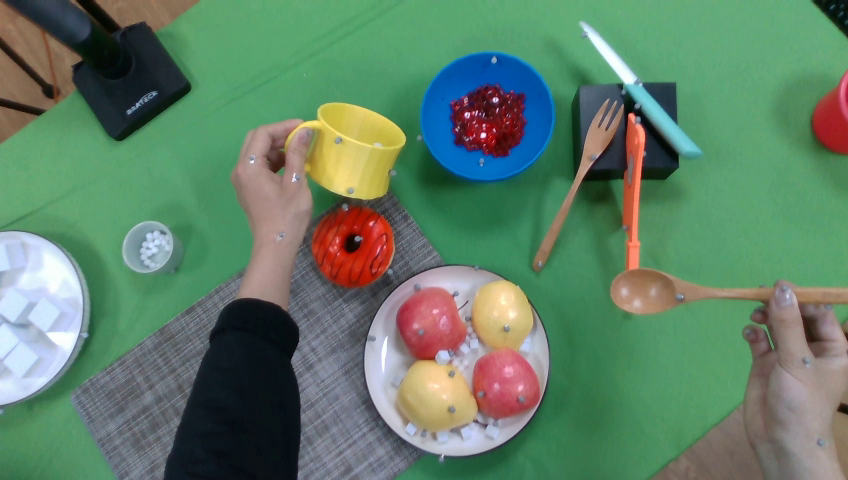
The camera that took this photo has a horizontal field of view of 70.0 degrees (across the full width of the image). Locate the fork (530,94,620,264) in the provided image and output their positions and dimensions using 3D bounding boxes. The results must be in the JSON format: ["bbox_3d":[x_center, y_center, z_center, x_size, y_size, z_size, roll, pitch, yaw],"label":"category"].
[{"bbox_3d":[0.166,-0.064,0.683,0.028,0.018,0.208,22,103,-1],"label":"fork"}]

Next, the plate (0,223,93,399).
[{"bbox_3d":[-0.494,0.084,0.727,0.207,0.039,0.207,-1,81,4],"label":"plate"}]

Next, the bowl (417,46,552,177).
[{"bbox_3d":[0.069,-0.138,0.707,0.151,0.077,0.151,0,81,3],"label":"bowl"}]

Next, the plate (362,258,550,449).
[{"bbox_3d":[0.035,0.125,0.682,0.209,0.038,0.208,-1,80,3],"label":"plate"}]

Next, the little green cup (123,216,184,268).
[{"bbox_3d":[-0.322,0.005,0.728,0.061,0.039,0.061,-1,80,5],"label":"little green cup"}]

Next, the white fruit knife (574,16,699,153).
[{"bbox_3d":[0.235,-0.177,0.684,0.027,0.016,0.206,-29,76,-31],"label":"white fruit knife"}]

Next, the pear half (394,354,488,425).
[{"bbox_3d":[0.023,0.170,0.661,0.110,0.056,0.076,26,88,3],"label":"pear half"}]

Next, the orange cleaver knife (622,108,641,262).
[{"bbox_3d":[0.229,-0.039,0.677,0.012,0.077,0.212,-1,106,9],"label":"orange cleaver knife"}]

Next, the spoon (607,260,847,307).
[{"bbox_3d":[0.250,0.038,0.499,0.192,0.022,0.041,0,86,33],"label":"spoon"}]

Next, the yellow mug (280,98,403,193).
[{"bbox_3d":[-0.092,-0.104,0.656,0.099,0.131,0.064,50,130,39],"label":"yellow mug"}]

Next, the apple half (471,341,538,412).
[{"bbox_3d":[0.080,0.150,0.657,0.081,0.033,0.081,1,92,24],"label":"apple half"}]

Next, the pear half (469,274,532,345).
[{"bbox_3d":[0.081,0.083,0.671,0.070,0.031,0.088,-8,90,26],"label":"pear half"}]

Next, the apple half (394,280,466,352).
[{"bbox_3d":[0.005,0.085,0.672,0.074,0.053,0.080,-19,84,1],"label":"apple half"}]

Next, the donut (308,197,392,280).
[{"bbox_3d":[-0.086,-0.001,0.707,0.099,0.048,0.099,-1,83,5],"label":"donut"}]
